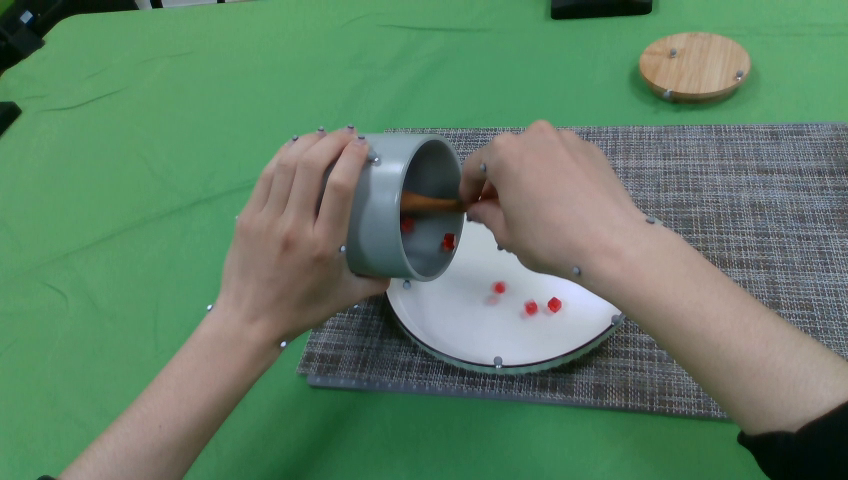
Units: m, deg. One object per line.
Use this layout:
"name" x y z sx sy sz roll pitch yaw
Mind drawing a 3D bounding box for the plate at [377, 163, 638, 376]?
"plate" 0.066 0.022 0.499 0.207 0.039 0.205 -6 50 8

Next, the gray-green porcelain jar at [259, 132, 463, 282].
"gray-green porcelain jar" -0.049 -0.027 0.454 0.126 0.107 0.105 6 52 27

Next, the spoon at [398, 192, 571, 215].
"spoon" 0.013 -0.026 0.437 0.192 0.022 0.041 3 66 29

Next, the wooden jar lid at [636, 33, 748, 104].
"wooden jar lid" 0.279 -0.179 0.635 0.108 0.021 0.107 -6 51 8
